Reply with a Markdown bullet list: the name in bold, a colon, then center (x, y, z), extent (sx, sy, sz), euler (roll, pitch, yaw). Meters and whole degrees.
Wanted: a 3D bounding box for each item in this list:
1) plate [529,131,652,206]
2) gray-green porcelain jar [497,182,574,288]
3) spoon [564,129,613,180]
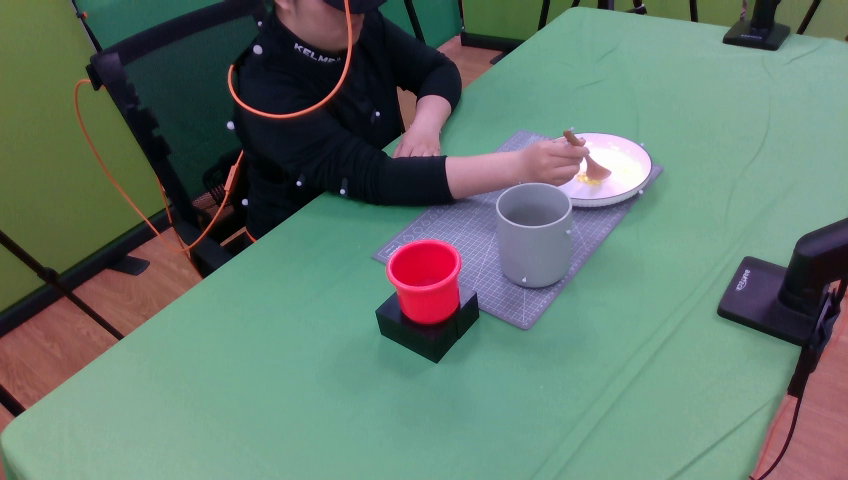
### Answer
- **plate**: center (0.287, -0.121, 1.056), extent (0.207, 0.039, 0.206), euler (-5, 40, 5)
- **gray-green porcelain jar**: center (0.160, -0.003, 0.870), extent (0.106, 0.127, 0.105), euler (-5, 40, 5)
- **spoon**: center (0.256, -0.134, 0.957), extent (0.041, 0.195, 0.021), euler (-10, 66, 31)
